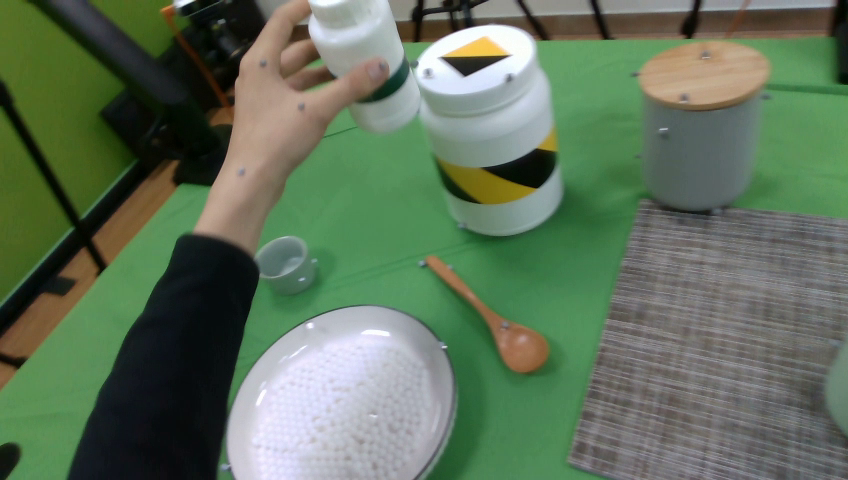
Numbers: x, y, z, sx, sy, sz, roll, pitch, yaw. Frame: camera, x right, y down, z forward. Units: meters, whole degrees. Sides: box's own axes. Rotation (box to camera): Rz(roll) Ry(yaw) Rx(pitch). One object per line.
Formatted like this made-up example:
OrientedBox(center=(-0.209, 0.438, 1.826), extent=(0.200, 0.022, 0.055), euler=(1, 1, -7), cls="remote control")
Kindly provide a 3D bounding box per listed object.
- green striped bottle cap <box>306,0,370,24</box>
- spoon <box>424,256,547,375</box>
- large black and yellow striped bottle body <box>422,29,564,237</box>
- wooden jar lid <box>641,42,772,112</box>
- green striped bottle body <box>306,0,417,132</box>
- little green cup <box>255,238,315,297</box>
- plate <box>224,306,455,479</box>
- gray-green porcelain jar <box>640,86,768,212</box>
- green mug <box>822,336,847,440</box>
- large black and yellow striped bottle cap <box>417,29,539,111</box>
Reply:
OrientedBox(center=(-0.062, -0.175, 0.435), extent=(0.044, 0.020, 0.044), euler=(-5, 62, 10), cls="green striped bottle cap")
OrientedBox(center=(0.052, 0.064, 0.588), extent=(0.041, 0.022, 0.191), euler=(-47, 48, 1), cls="spoon")
OrientedBox(center=(0.073, -0.107, 0.628), extent=(0.130, 0.186, 0.129), euler=(-10, 46, 11), cls="large black and yellow striped bottle body")
OrientedBox(center=(0.254, -0.144, 0.550), extent=(0.108, 0.021, 0.107), euler=(-12, 43, 11), cls="wooden jar lid")
OrientedBox(center=(-0.050, -0.147, 0.477), extent=(0.063, 0.120, 0.062), euler=(-7, 57, 12), cls="green striped bottle body")
OrientedBox(center=(-0.153, 0.032, 0.678), extent=(0.061, 0.039, 0.061), euler=(-9, 46, 10), cls="little green cup")
OrientedBox(center=(-0.071, 0.152, 0.536), extent=(0.209, 0.038, 0.207), euler=(-9, 46, 10), cls="plate")
OrientedBox(center=(0.268, -0.099, 0.592), extent=(0.106, 0.128, 0.105), euler=(-9, 43, 8), cls="gray-green porcelain jar")
OrientedBox(center=(0.340, 0.095, 0.395), extent=(0.124, 0.106, 0.092), euler=(18, 56, 32), cls="green mug")
OrientedBox(center=(0.050, -0.162, 0.569), extent=(0.115, 0.019, 0.114), euler=(-9, 45, 10), cls="large black and yellow striped bottle cap")
